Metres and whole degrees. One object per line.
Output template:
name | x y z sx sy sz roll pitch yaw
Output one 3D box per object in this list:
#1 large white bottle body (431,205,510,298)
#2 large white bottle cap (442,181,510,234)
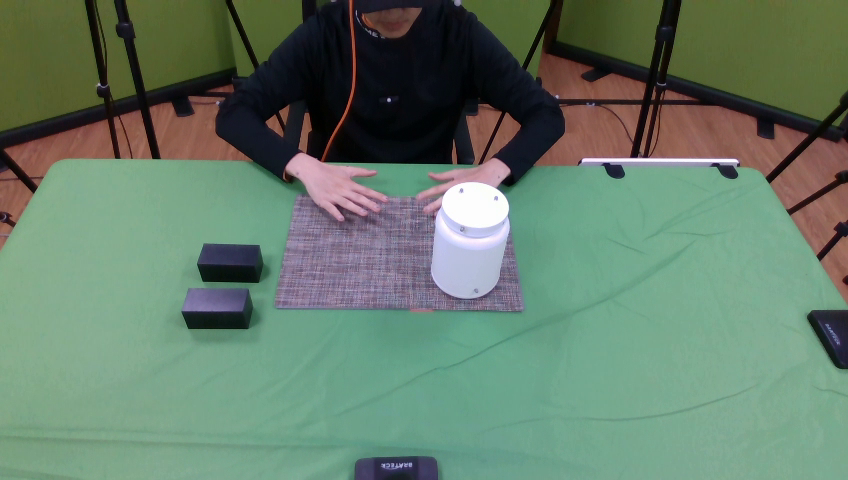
large white bottle body | 0.082 0.000 1.084 0.131 0.185 0.130 2 47 -2
large white bottle cap | 0.087 -0.057 1.022 0.115 0.018 0.114 2 47 -2
